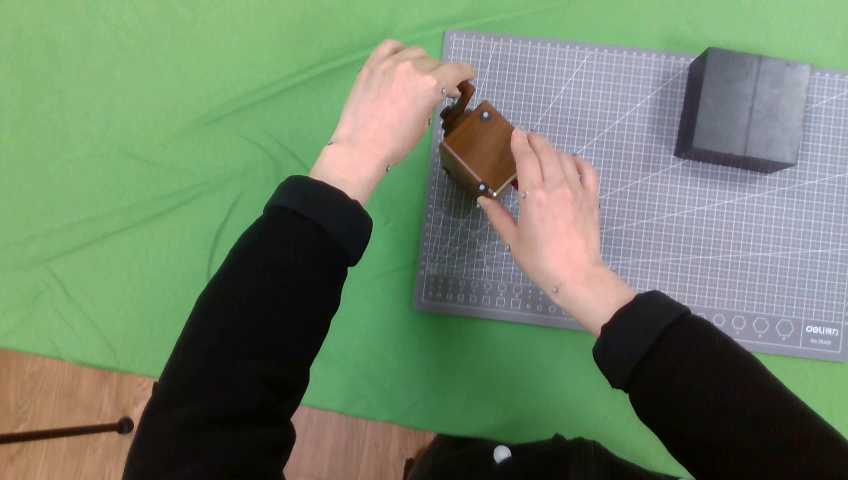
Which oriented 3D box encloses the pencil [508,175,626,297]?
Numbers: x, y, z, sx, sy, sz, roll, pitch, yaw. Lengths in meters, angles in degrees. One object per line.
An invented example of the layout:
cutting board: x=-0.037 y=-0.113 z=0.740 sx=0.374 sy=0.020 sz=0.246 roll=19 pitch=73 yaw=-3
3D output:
pencil: x=0.116 y=-0.020 z=0.560 sx=0.012 sy=0.012 sz=0.194 roll=-43 pitch=89 yaw=0

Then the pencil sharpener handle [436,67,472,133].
pencil sharpener handle: x=0.022 y=-0.127 z=0.549 sx=0.030 sy=0.068 sz=0.036 roll=46 pitch=63 yaw=4

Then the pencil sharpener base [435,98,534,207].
pencil sharpener base: x=0.055 y=-0.083 z=0.587 sx=0.061 sy=0.107 sz=0.076 roll=-44 pitch=86 yaw=0
